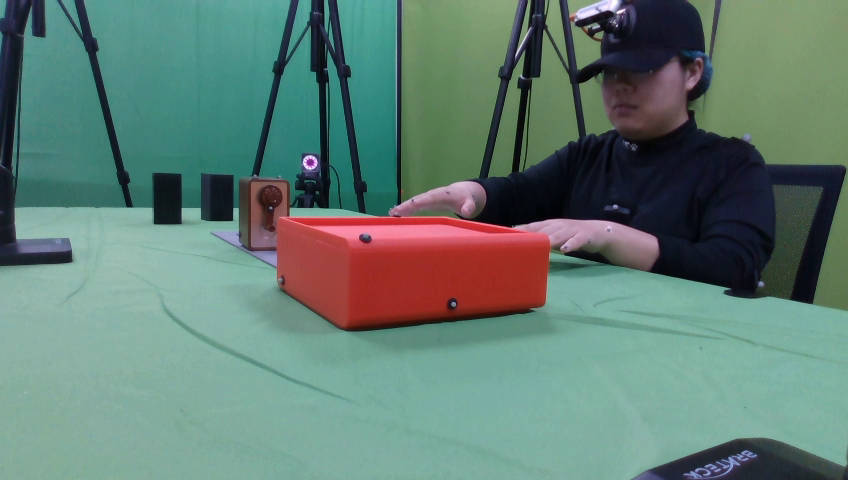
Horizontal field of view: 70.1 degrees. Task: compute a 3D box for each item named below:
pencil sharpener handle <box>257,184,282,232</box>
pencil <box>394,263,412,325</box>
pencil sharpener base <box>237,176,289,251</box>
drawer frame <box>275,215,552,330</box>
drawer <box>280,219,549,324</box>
[{"bbox_3d":[-0.219,-0.046,0.865,0.036,0.067,0.030,6,5,-29],"label":"pencil sharpener handle"},{"bbox_3d":[-0.021,0.052,0.614,0.012,0.012,0.194,3,12,0],"label":"pencil"},{"bbox_3d":[-0.243,-0.040,0.912,0.061,0.107,0.076,-1,8,-29],"label":"pencil sharpener base"},{"bbox_3d":[-0.017,0.022,0.610,0.215,0.082,0.200,-2,9,-31],"label":"drawer frame"},{"bbox_3d":[-0.016,0.023,0.612,0.213,0.073,0.193,-2,9,-30],"label":"drawer"}]
